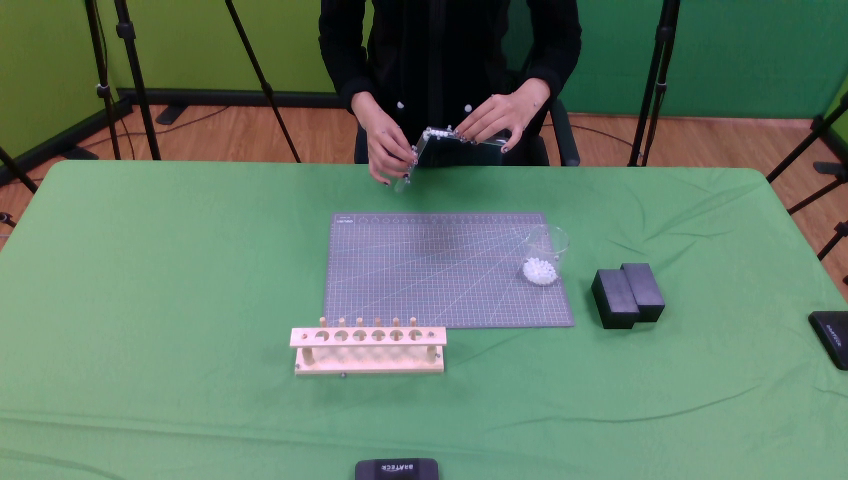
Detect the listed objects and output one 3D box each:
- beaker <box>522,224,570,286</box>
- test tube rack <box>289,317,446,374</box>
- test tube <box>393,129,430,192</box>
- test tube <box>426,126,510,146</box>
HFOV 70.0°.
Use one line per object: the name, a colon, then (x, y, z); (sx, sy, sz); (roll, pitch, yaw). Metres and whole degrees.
beaker: (0.221, 0.032, 1.129); (0.084, 0.101, 0.073); (-6, 46, -9)
test tube rack: (-0.089, 0.167, 0.988); (0.242, 0.085, 0.066); (0, 46, -4)
test tube: (-0.024, -0.142, 1.111); (0.017, 0.151, 0.017); (17, 43, -16)
test tube: (0.074, -0.179, 1.040); (0.150, 0.017, 0.017); (12, 46, 17)
